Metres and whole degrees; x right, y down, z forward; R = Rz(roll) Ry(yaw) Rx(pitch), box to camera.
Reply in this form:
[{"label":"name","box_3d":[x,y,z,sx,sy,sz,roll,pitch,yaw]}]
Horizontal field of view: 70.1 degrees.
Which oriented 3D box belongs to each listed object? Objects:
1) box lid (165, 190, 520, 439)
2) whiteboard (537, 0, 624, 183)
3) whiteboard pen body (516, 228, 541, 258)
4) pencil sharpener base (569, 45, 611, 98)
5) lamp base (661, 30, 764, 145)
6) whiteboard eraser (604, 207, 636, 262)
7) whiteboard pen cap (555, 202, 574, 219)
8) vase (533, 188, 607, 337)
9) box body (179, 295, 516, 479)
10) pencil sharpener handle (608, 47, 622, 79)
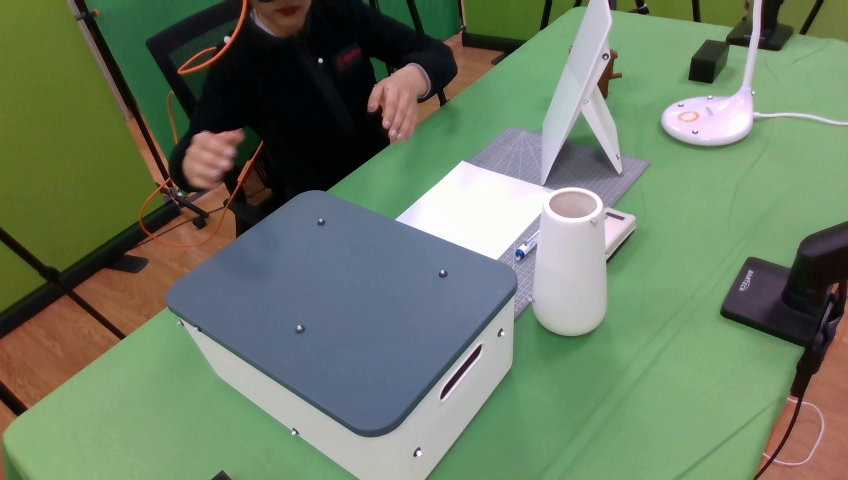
[{"label":"box lid","box_3d":[-0.104,0.056,0.711,0.368,0.015,0.264,22,49,32]},{"label":"whiteboard","box_3d":[0.316,-0.256,1.047,0.144,0.306,0.216,15,42,-1]},{"label":"whiteboard pen body","box_3d":[0.192,-0.015,0.963,0.017,0.017,0.141,27,51,34]},{"label":"pencil sharpener base","box_3d":[0.346,-0.352,1.262,0.077,0.107,0.061,-10,40,-1]},{"label":"lamp base","box_3d":[0.535,-0.287,1.095,0.179,0.181,0.159,-10,40,-4]},{"label":"whiteboard eraser","box_3d":[0.272,-0.003,0.919,0.055,0.042,0.113,27,51,32]},{"label":"whiteboard pen cap","box_3d":[0.230,-0.048,0.994,0.018,0.018,0.033,26,54,34]},{"label":"vase","box_3d":[0.187,0.033,0.771,0.098,0.201,0.097,-6,41,6]},{"label":"box body","box_3d":[-0.093,0.113,0.757,0.361,0.161,0.255,22,49,32]},{"label":"pencil sharpener handle","box_3d":[0.395,-0.368,1.254,0.031,0.068,0.036,-10,32,-1]}]
